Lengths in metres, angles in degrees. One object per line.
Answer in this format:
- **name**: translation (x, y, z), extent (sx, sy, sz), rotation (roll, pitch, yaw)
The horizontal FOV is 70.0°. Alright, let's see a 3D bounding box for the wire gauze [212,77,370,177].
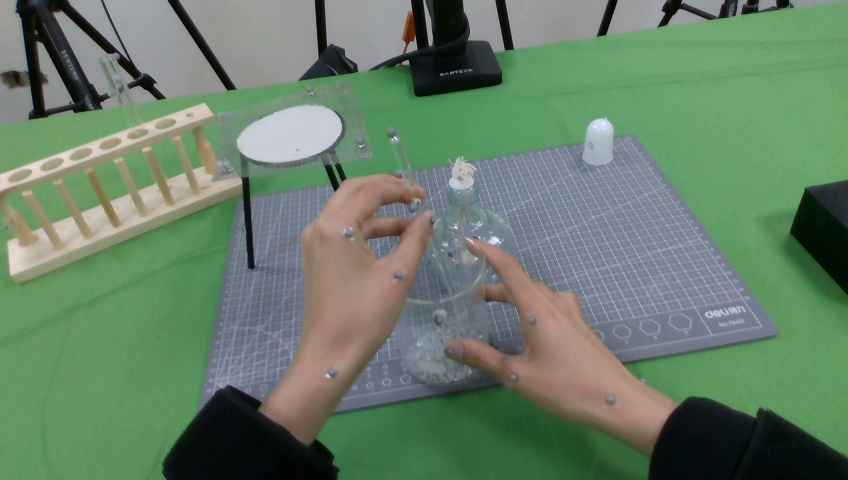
- **wire gauze**: translation (-0.115, -0.095, 0.503), extent (0.125, 0.011, 0.120), rotation (-14, 42, -5)

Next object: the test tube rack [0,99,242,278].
- **test tube rack**: translation (-0.326, -0.059, 0.637), extent (0.242, 0.086, 0.066), rotation (-26, 45, -19)

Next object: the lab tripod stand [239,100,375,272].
- **lab tripod stand**: translation (-0.107, -0.046, 0.548), extent (0.148, 0.133, 0.147), rotation (-5, 44, 5)

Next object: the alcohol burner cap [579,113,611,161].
- **alcohol burner cap**: translation (0.183, -0.112, 0.645), extent (0.034, 0.048, 0.033), rotation (-4, 42, 4)

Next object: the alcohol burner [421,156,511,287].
- **alcohol burner**: translation (0.034, -0.019, 0.511), extent (0.078, 0.120, 0.077), rotation (-5, 40, 4)

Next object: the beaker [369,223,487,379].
- **beaker**: translation (0.008, 0.049, 0.451), extent (0.084, 0.101, 0.073), rotation (-3, 41, 6)

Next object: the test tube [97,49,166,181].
- **test tube**: translation (-0.302, -0.125, 0.632), extent (0.017, 0.151, 0.017), rotation (-4, 39, 4)

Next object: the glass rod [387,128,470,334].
- **glass rod**: translation (0.007, 0.006, 0.420), extent (0.008, 0.202, 0.008), rotation (-11, 43, 11)
